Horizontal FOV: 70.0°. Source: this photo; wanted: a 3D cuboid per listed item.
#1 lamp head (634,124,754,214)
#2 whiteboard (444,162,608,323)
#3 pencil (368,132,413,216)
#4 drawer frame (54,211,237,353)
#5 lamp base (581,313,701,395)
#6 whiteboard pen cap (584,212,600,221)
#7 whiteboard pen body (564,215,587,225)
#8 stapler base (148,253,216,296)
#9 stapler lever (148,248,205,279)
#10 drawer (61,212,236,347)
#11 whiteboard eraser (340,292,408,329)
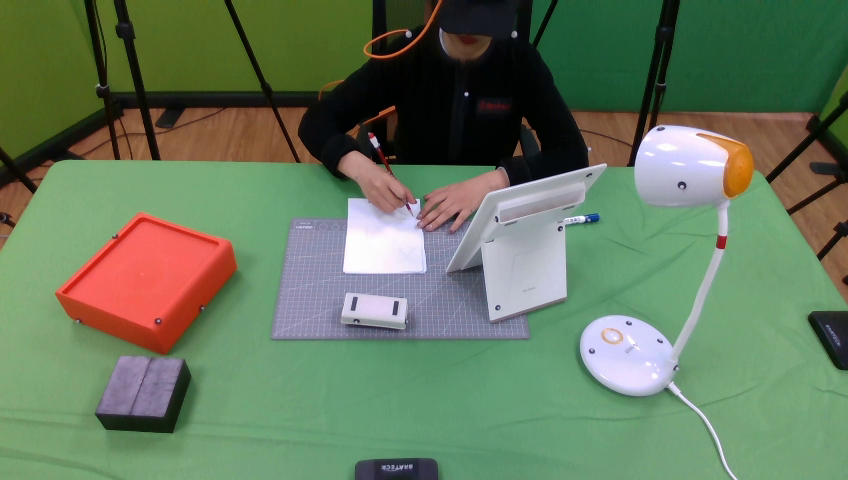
[{"bbox_3d":[0.351,-0.089,0.776,0.112,0.113,0.122,-30,30,-28],"label":"lamp head"},{"bbox_3d":[0.186,0.026,1.028,0.217,0.306,0.143,-14,68,-17],"label":"whiteboard"},{"bbox_3d":[-0.064,-0.128,1.208,0.012,0.195,0.012,-22,24,10],"label":"pencil"},{"bbox_3d":[-0.473,0.067,1.055,0.201,0.083,0.212,17,48,11],"label":"drawer frame"},{"bbox_3d":[0.361,0.144,0.973,0.178,0.181,0.160,34,53,23],"label":"lamp base"},{"bbox_3d":[0.351,-0.048,1.271,0.033,0.018,0.018,-6,47,-11],"label":"whiteboard pen cap"},{"bbox_3d":[0.291,-0.040,1.261,0.141,0.017,0.017,-6,47,-11],"label":"whiteboard pen body"},{"bbox_3d":[-0.443,0.058,1.108,0.130,0.024,0.041,24,52,12],"label":"stapler base"},{"bbox_3d":[-0.444,0.038,1.083,0.118,0.040,0.027,19,51,18],"label":"stapler lever"},{"bbox_3d":[-0.473,0.064,1.060,0.194,0.073,0.211,18,48,11],"label":"drawer"},{"bbox_3d":[-0.087,0.125,1.052,0.113,0.042,0.055,5,45,1],"label":"whiteboard eraser"}]
